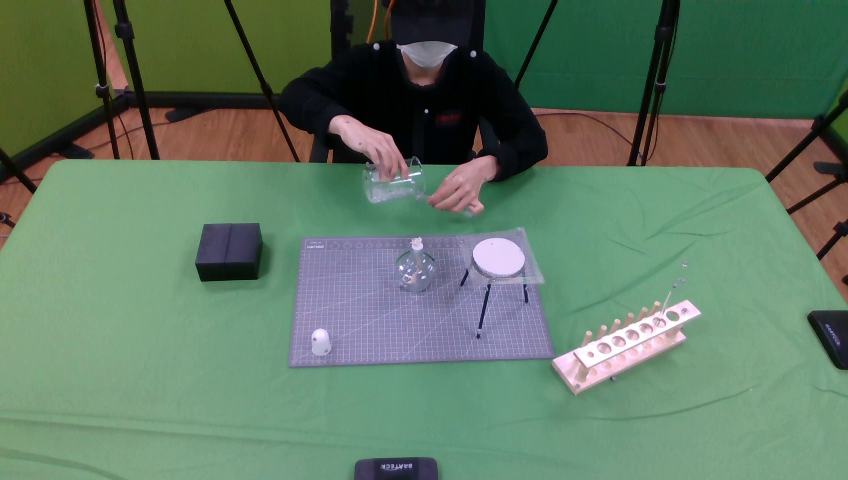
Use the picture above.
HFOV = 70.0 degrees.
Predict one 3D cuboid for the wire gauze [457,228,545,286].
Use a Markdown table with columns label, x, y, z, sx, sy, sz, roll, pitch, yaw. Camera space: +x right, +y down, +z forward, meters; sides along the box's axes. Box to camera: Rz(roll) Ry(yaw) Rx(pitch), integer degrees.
| label | x | y | z | sx | sy | sz | roll | pitch | yaw |
| --- | --- | --- | --- | --- | --- | --- | --- | --- | --- |
| wire gauze | 0.126 | 0.029 | 1.006 | 0.125 | 0.011 | 0.120 | -4 | 46 | -10 |

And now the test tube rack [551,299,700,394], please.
| label | x | y | z | sx | sy | sz | roll | pitch | yaw |
| --- | --- | --- | --- | --- | --- | --- | --- | --- | --- |
| test tube rack | 0.339 | 0.166 | 1.021 | 0.242 | 0.085 | 0.066 | -19 | 50 | -21 |

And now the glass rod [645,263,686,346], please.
| label | x | y | z | sx | sy | sz | roll | pitch | yaw |
| --- | --- | --- | --- | --- | --- | --- | --- | --- | --- |
| glass rod | 0.392 | 0.110 | 0.986 | 0.008 | 0.201 | 0.008 | 2 | 42 | -1 |

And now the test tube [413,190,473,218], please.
| label | x | y | z | sx | sy | sz | roll | pitch | yaw |
| --- | --- | --- | --- | --- | --- | --- | --- | --- | --- |
| test tube | 0.040 | -0.070 | 1.187 | 0.151 | 0.017 | 0.017 | 18 | 36 | -35 |

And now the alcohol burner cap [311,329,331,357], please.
| label | x | y | z | sx | sy | sz | roll | pitch | yaw |
| --- | --- | --- | --- | --- | --- | --- | --- | --- | --- |
| alcohol burner cap | -0.173 | 0.168 | 1.004 | 0.034 | 0.048 | 0.033 | 2 | 46 | -2 |

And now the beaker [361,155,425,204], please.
| label | x | y | z | sx | sy | sz | roll | pitch | yaw |
| --- | --- | --- | --- | --- | --- | --- | --- | --- | --- |
| beaker | -0.058 | -0.106 | 1.105 | 0.100 | 0.084 | 0.073 | -13 | 43 | -17 |

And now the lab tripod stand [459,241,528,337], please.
| label | x | y | z | sx | sy | sz | roll | pitch | yaw |
| --- | --- | --- | --- | --- | --- | --- | --- | --- | --- |
| lab tripod stand | 0.122 | 0.075 | 1.054 | 0.148 | 0.132 | 0.147 | 3 | 44 | -3 |

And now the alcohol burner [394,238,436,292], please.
| label | x | y | z | sx | sy | sz | roll | pitch | yaw |
| --- | --- | --- | --- | --- | --- | --- | --- | --- | --- |
| alcohol burner | -0.016 | 0.038 | 1.093 | 0.078 | 0.119 | 0.077 | 2 | 48 | -2 |
